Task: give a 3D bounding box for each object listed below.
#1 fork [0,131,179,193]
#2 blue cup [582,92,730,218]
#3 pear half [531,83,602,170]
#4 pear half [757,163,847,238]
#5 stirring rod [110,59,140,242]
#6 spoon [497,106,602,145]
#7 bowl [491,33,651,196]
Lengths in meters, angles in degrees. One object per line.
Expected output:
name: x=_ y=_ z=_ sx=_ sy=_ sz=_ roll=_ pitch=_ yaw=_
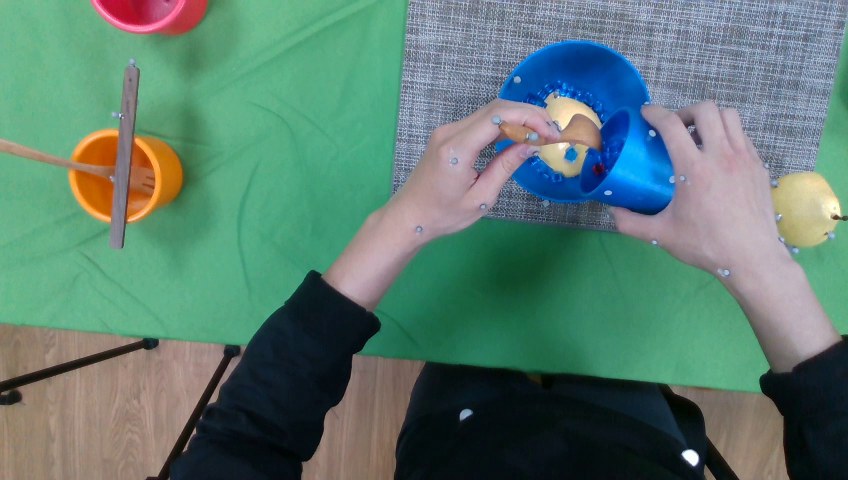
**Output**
fork: x=-0.339 y=-0.081 z=0.581 sx=0.209 sy=0.018 sz=0.028 roll=15 pitch=115 yaw=-47
blue cup: x=0.204 y=-0.064 z=0.529 sx=0.100 sy=0.092 sz=0.093 roll=22 pitch=101 yaw=-3
pear half: x=0.142 y=-0.114 z=0.599 sx=0.070 sy=0.031 sz=0.088 roll=-20 pitch=96 yaw=1
pear half: x=0.375 y=-0.036 z=0.606 sx=0.056 sy=0.109 sz=0.076 roll=-13 pitch=97 yaw=4
stirring rod: x=-0.286 y=-0.083 z=0.579 sx=0.014 sy=0.006 sz=0.176 roll=10 pitch=102 yaw=-5
spoon: x=0.101 y=-0.087 z=0.467 sx=0.021 sy=0.194 sz=0.041 roll=-38 pitch=78 yaw=35
bowl: x=0.138 y=-0.123 z=0.604 sx=0.151 sy=0.076 sz=0.152 roll=0 pitch=101 yaw=1
